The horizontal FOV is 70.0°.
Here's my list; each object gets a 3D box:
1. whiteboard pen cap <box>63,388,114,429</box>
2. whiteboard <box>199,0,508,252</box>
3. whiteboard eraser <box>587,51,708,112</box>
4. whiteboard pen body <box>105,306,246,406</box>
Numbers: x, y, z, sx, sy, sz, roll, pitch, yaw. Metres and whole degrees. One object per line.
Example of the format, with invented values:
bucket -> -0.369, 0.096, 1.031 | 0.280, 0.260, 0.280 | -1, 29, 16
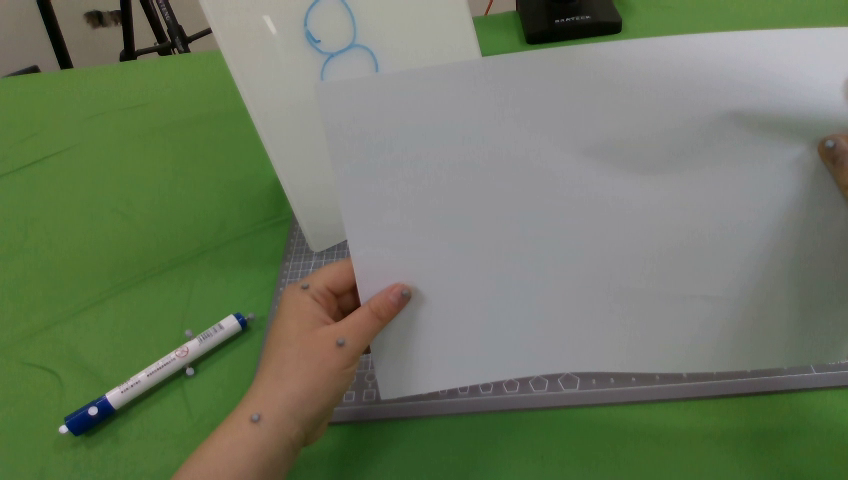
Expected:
whiteboard pen cap -> -0.248, 0.124, 0.451 | 0.033, 0.018, 0.018 | -34, 50, -24
whiteboard -> -0.079, -0.185, 0.569 | 0.217, 0.308, 0.142 | -26, 27, -14
whiteboard eraser -> 0.233, -0.164, 0.635 | 0.112, 0.042, 0.055 | -7, 47, 2
whiteboard pen body -> -0.203, 0.095, 0.474 | 0.141, 0.017, 0.017 | -34, 50, -24
